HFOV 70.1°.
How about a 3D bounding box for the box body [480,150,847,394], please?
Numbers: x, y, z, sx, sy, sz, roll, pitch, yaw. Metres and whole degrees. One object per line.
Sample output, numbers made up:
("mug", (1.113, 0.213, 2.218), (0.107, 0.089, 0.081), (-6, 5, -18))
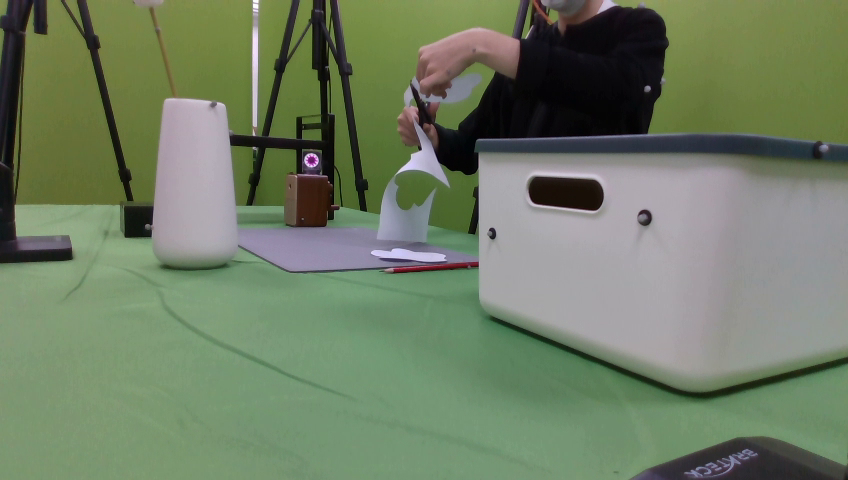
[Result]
("box body", (0.254, 0.002, 0.539), (0.366, 0.160, 0.253), (-2, 8, -31))

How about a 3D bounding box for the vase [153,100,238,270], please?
("vase", (-0.278, -0.066, 0.736), (0.098, 0.200, 0.098), (2, 9, 0))

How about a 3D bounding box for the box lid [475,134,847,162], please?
("box lid", (0.256, -0.073, 0.528), (0.373, 0.015, 0.262), (-2, 8, -31))

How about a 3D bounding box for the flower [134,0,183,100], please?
("flower", (-0.282, -0.147, 0.713), (0.038, 0.362, 0.044), (-23, 24, -31))

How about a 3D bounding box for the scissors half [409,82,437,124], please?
("scissors half", (-0.003, -0.246, 1.074), (0.013, 0.040, 0.175), (8, -3, 16))

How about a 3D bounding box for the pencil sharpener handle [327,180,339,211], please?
("pencil sharpener handle", (-0.194, -0.094, 1.256), (0.031, 0.067, 0.036), (-2, -5, -36))

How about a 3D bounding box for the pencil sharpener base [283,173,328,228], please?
("pencil sharpener base", (-0.239, -0.081, 1.231), (0.077, 0.107, 0.061), (-2, 8, -36))

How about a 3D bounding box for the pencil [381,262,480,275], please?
("pencil", (0.030, 0.036, 0.794), (0.195, 0.012, 0.012), (-3, 9, -30))

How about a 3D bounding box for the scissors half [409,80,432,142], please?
("scissors half", (-0.008, -0.226, 1.069), (0.013, 0.040, 0.175), (14, -23, 17))
